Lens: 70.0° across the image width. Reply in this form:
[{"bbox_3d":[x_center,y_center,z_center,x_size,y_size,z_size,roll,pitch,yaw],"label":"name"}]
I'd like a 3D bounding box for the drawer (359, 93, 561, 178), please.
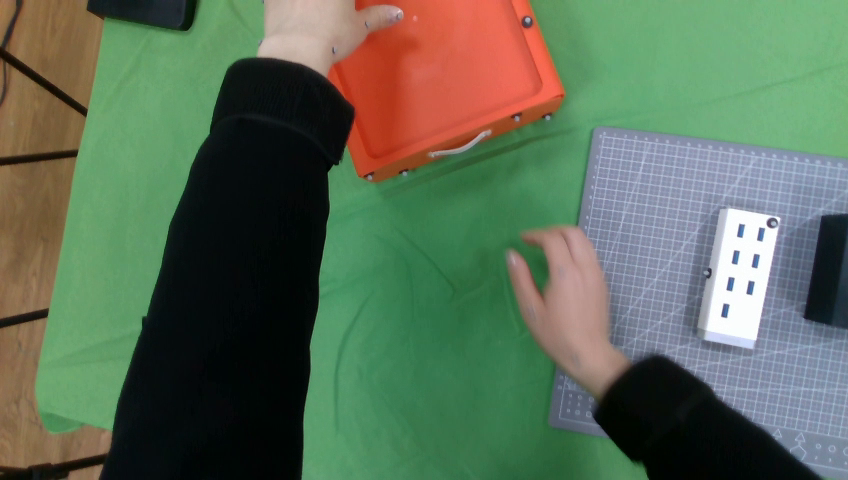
[{"bbox_3d":[0.000,-0.189,0.573,0.194,0.073,0.211,-20,88,7],"label":"drawer"}]

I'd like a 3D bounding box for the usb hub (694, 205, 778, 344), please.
[{"bbox_3d":[0.293,0.032,0.571,0.049,0.025,0.125,10,92,6],"label":"usb hub"}]

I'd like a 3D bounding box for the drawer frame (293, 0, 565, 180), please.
[{"bbox_3d":[-0.002,-0.190,0.571,0.201,0.083,0.213,-21,88,6],"label":"drawer frame"}]
